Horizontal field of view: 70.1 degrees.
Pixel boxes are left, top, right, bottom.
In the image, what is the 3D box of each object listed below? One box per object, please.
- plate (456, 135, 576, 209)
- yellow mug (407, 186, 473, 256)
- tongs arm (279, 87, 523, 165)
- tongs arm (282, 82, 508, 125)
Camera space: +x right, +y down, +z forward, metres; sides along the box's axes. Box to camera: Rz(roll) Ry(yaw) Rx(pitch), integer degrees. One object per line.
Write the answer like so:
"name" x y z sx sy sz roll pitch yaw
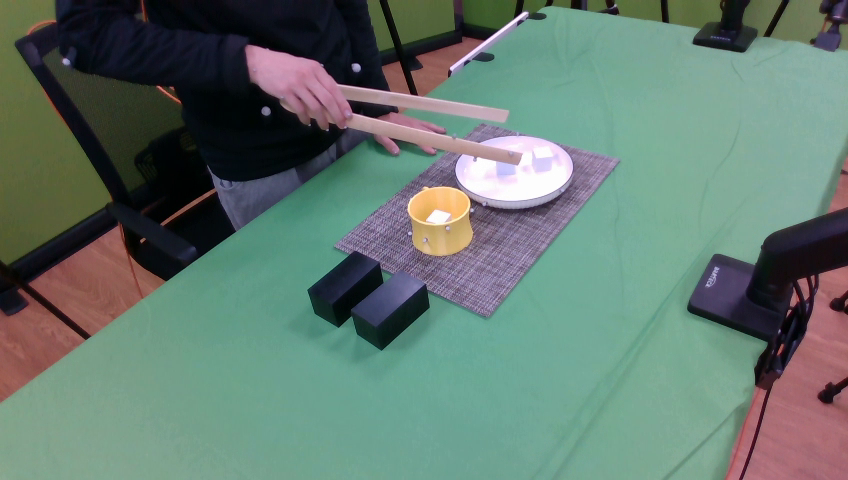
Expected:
"plate" 0.161 -0.116 1.064 0.207 0.039 0.206 -4 40 4
"yellow mug" 0.020 -0.041 0.973 0.100 0.064 0.129 -18 41 -13
"tongs arm" -0.031 -0.175 0.944 0.386 0.026 0.050 10 41 -12
"tongs arm" -0.038 -0.222 0.996 0.390 0.028 0.028 3 47 -20
